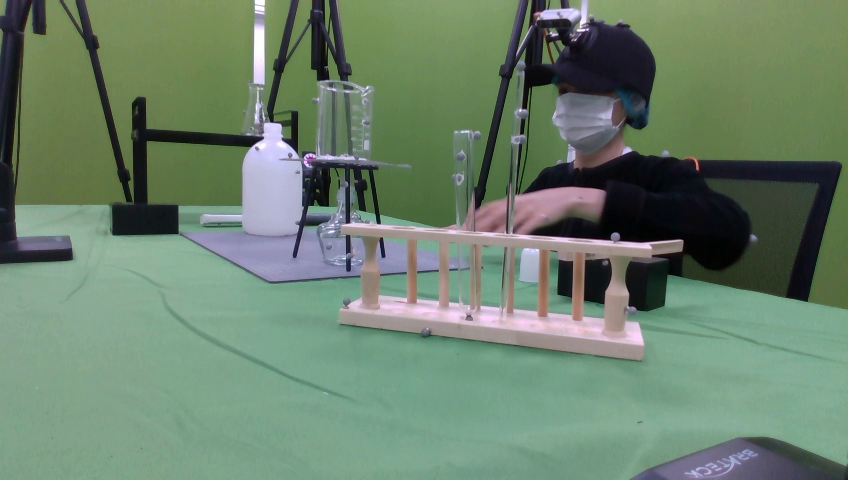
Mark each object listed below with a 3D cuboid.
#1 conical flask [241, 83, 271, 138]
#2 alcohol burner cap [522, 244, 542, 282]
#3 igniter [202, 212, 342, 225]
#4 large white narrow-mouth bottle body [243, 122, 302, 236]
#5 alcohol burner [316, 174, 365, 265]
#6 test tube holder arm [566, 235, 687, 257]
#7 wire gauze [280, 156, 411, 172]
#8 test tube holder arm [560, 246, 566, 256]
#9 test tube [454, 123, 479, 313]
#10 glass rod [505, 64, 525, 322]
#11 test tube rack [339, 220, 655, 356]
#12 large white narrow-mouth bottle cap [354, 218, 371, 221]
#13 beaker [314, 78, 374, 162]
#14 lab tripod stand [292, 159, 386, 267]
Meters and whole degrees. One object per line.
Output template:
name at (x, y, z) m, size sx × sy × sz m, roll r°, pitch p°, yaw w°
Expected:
conical flask at (-0.384, -0.297, 1.393) m, size 0.075 × 0.122 × 0.075 m, roll 2°, pitch 7°, yaw 0°
alcohol burner cap at (0.137, 0.026, 0.740) m, size 0.034 × 0.048 × 0.034 m, roll 0°, pitch 6°, yaw 0°
igniter at (-0.298, -0.043, 1.216) m, size 0.278 × 0.025 × 0.057 m, roll -3°, pitch -2°, yaw -32°
large white narrow-mouth bottle body at (-0.264, -0.109, 1.061) m, size 0.102 × 0.194 × 0.102 m, roll 2°, pitch 8°, yaw 0°
alcohol burner at (-0.102, -0.028, 0.790) m, size 0.078 × 0.119 × 0.078 m, roll 0°, pitch 6°, yaw 0°
test tube holder arm at (0.215, 0.006, 0.630) m, size 0.179 × 0.015 × 0.013 m, roll -3°, pitch 9°, yaw -30°
wire gauze at (-0.103, -0.103, 0.785) m, size 0.121 × 0.011 × 0.126 m, roll 11°, pitch 8°, yaw 42°
test tube holder arm at (0.173, 0.007, 0.611) m, size 0.088 × 0.015 × 0.010 m, roll -3°, pitch 9°, yaw -30°
test tube at (0.034, -0.016, 0.477) m, size 0.017 × 0.150 × 0.017 m, roll -2°, pitch 9°, yaw 1°
glass rod at (0.069, -0.030, 0.458) m, size 0.008 × 0.199 × 0.008 m, roll 0°, pitch 15°, yaw 0°
test tube rack at (0.056, 0.032, 0.495) m, size 0.242 × 0.085 × 0.067 m, roll 4°, pitch 7°, yaw 15°
large white narrow-mouth bottle cap at (-0.120, -0.029, 1.184) m, size 0.038 × 0.024 × 0.037 m, roll 2°, pitch 8°, yaw 0°
beaker at (-0.101, -0.150, 0.774) m, size 0.074 × 0.100 × 0.083 m, roll -2°, pitch 8°, yaw -40°
lab tripod stand at (-0.105, -0.039, 0.797) m, size 0.148 × 0.131 × 0.148 m, roll 2°, pitch 5°, yaw 0°
